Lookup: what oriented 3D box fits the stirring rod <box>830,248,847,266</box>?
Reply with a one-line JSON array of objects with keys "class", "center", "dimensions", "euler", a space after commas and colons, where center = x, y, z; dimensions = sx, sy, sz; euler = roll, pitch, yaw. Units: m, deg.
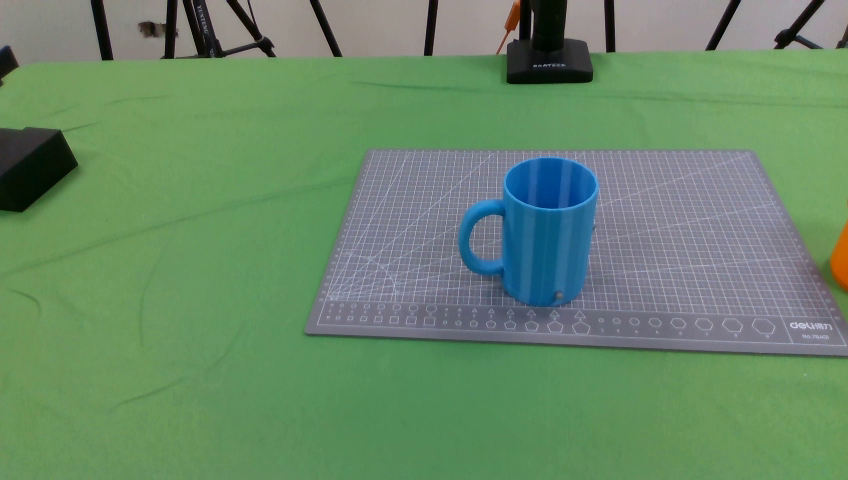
[{"class": "stirring rod", "center": [0.422, -0.018, 0.485], "dimensions": [0.176, 0.006, 0.014], "euler": [-32, 28, 38]}]

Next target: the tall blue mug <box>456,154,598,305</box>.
[{"class": "tall blue mug", "center": [0.090, -0.002, 0.514], "dimensions": [0.107, 0.109, 0.077], "euler": [-25, 46, -22]}]
